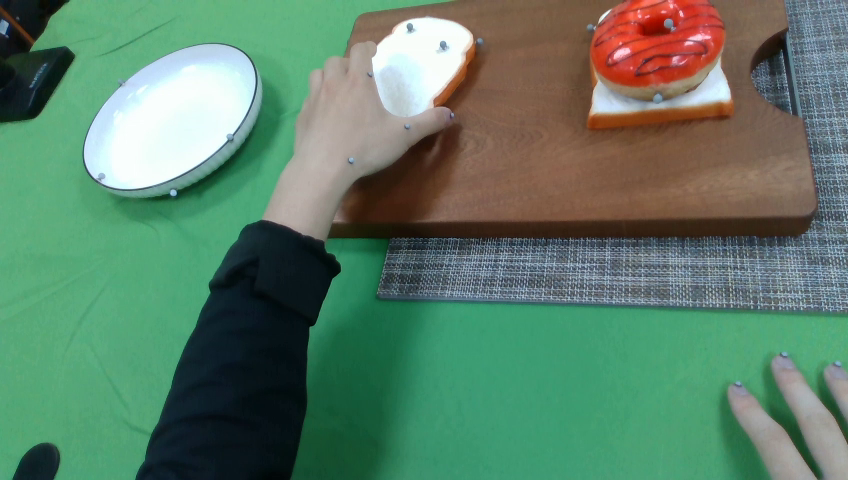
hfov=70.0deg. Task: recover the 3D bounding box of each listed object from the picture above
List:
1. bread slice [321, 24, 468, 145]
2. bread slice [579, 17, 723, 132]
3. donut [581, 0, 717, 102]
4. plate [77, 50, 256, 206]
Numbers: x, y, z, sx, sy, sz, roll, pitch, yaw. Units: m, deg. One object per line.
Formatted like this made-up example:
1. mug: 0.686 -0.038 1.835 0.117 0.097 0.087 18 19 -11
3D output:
1. bread slice: -0.021 -0.150 0.566 0.106 0.018 0.134 18 67 27
2. bread slice: 0.179 -0.146 0.497 0.104 0.019 0.130 -3 59 15
3. donut: 0.171 -0.149 0.465 0.099 0.049 0.098 -10 56 16
4. plate: -0.272 -0.119 0.656 0.209 0.038 0.207 -9 57 14
